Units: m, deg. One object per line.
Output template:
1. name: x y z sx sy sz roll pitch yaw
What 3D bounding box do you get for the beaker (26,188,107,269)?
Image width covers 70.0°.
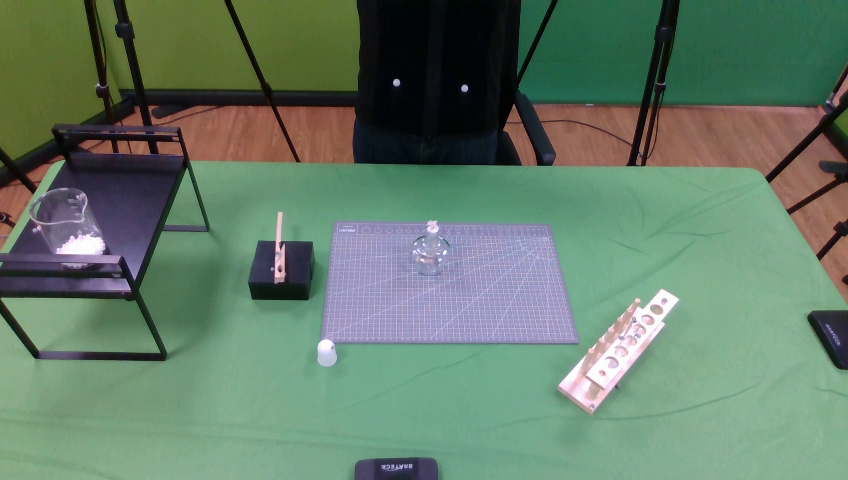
1. beaker: -0.504 -0.013 0.868 0.084 0.101 0.074 23 49 17

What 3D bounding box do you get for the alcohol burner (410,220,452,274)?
1. alcohol burner: 0.013 0.007 1.120 0.078 0.120 0.077 1 48 -1

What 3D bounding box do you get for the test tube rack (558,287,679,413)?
1. test tube rack: 0.326 0.170 1.009 0.066 0.085 0.242 36 54 27

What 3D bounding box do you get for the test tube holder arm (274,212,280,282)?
1. test tube holder arm: -0.267 0.008 1.103 0.013 0.015 0.177 6 40 -20

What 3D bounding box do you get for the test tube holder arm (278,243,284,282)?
1. test tube holder arm: -0.253 0.039 1.072 0.010 0.015 0.087 7 40 -19

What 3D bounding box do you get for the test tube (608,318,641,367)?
1. test tube: 0.308 0.169 0.941 0.017 0.151 0.017 1 49 -1

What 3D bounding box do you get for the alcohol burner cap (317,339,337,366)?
1. alcohol burner cap: -0.161 0.182 0.995 0.034 0.048 0.033 2 47 -2
